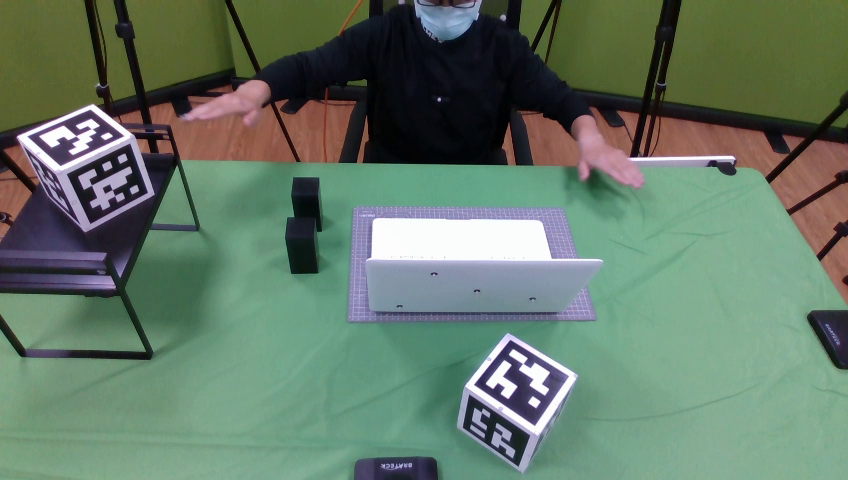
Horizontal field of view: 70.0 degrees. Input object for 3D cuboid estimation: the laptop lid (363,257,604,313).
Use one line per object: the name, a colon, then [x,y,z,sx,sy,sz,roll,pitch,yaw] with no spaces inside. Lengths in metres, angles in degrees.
laptop lid: [0.084,0.077,0.972,0.357,0.242,0.013,1,65,-5]

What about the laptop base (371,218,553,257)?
laptop base: [0.074,0.044,1.159,0.354,0.023,0.234,0,43,-3]
